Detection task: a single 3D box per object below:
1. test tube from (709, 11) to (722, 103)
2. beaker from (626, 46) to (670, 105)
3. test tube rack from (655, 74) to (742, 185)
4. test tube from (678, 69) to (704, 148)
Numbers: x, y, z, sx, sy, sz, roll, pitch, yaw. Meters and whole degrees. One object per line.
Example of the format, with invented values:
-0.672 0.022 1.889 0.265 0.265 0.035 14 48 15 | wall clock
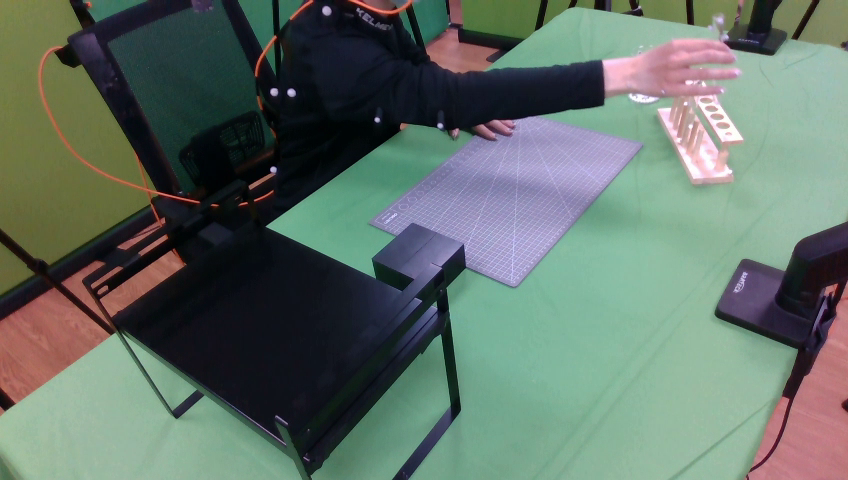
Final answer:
0.450 -0.278 0.932 0.017 0.151 0.017 -13 39 11 | test tube
0.457 -0.335 1.240 0.084 0.101 0.073 -12 41 -6 | beaker
0.488 -0.205 1.093 0.067 0.085 0.241 -3 41 5 | test tube rack
0.465 -0.227 1.054 0.017 0.151 0.017 -4 41 4 | test tube
